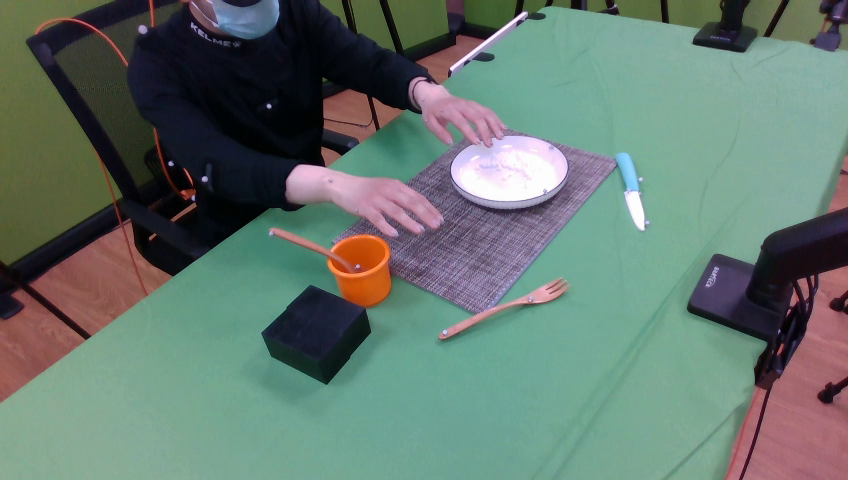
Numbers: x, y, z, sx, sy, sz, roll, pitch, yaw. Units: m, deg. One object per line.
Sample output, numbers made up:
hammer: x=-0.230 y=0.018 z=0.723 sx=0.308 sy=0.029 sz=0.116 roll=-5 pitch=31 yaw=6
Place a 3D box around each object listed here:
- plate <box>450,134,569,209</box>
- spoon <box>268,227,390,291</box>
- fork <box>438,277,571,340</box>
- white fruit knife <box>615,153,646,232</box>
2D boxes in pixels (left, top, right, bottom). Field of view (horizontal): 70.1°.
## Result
plate: x=0.150 y=-0.117 z=1.066 sx=0.209 sy=0.038 sz=0.208 roll=-4 pitch=41 yaw=4
spoon: x=-0.132 y=0.025 z=0.862 sx=0.021 sy=0.195 sz=0.041 roll=-42 pitch=30 yaw=30
fork: x=0.113 y=0.096 z=0.843 sx=0.208 sy=0.019 sz=0.028 roll=-19 pitch=47 yaw=-16
white fruit knife: x=0.352 y=-0.084 z=1.023 sx=0.027 sy=0.016 sz=0.206 roll=-19 pitch=40 yaw=23
